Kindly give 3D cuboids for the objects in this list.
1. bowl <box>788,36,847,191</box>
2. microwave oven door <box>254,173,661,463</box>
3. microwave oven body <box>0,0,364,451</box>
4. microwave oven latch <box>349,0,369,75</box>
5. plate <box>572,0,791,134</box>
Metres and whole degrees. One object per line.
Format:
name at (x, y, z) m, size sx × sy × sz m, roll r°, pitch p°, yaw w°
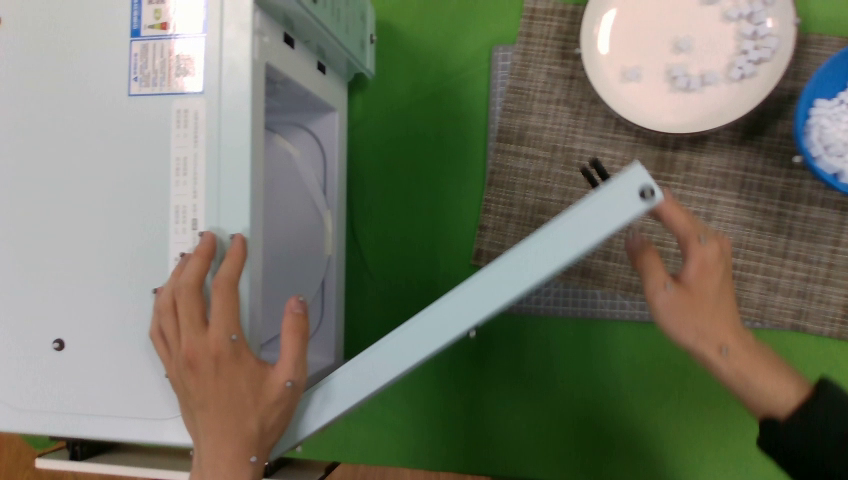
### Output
bowl at (0.418, -0.114, 0.576) m, size 0.151 × 0.077 × 0.151 m, roll 0°, pitch 90°, yaw 11°
microwave oven door at (0.037, 0.062, 0.554) m, size 0.356 × 0.244 × 0.039 m, roll -36°, pitch 82°, yaw 9°
microwave oven body at (-0.242, -0.052, 0.612) m, size 0.325 × 0.261 × 0.441 m, roll 0°, pitch 91°, yaw 11°
microwave oven latch at (-0.077, -0.228, 0.677) m, size 0.030 × 0.029 × 0.079 m, roll 0°, pitch 91°, yaw 11°
plate at (0.260, -0.210, 0.627) m, size 0.209 × 0.038 × 0.209 m, roll 0°, pitch 89°, yaw 11°
